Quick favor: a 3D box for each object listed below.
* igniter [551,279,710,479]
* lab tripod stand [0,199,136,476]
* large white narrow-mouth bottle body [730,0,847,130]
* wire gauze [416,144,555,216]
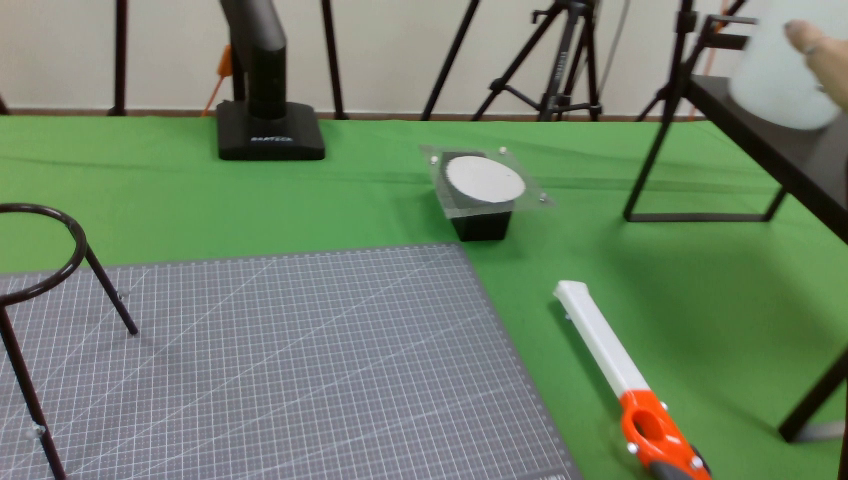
[{"bbox_3d":[0.171,0.132,0.489,0.057,0.025,0.273,6,38,-24],"label":"igniter"},{"bbox_3d":[-0.251,0.055,0.383,0.149,0.132,0.147,9,39,-7],"label":"lab tripod stand"},{"bbox_3d":[0.354,-0.202,0.524,0.102,0.196,0.101,7,39,-5],"label":"large white narrow-mouth bottle body"},{"bbox_3d":[0.062,-0.067,0.644,0.122,0.011,0.123,-2,41,-19],"label":"wire gauze"}]
